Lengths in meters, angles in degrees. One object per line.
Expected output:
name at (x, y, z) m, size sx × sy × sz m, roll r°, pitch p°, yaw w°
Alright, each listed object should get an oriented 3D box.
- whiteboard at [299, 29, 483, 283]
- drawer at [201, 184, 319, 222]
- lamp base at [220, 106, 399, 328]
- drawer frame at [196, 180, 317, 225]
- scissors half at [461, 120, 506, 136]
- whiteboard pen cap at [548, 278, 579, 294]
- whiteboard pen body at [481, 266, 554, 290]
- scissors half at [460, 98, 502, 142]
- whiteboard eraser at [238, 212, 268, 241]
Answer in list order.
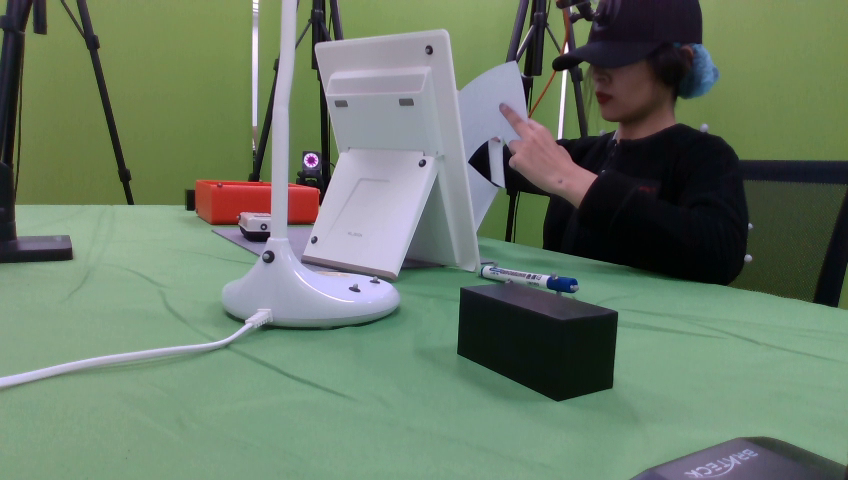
whiteboard at (-0.074, -0.082, 0.742) m, size 0.216 × 0.305 × 0.144 m, roll 9°, pitch 29°, yaw 38°
drawer at (-0.353, -0.082, 1.295) m, size 0.213 × 0.073 × 0.193 m, roll -2°, pitch 10°, yaw -28°
lamp base at (-0.102, -0.023, 0.531) m, size 0.160 × 0.180 × 0.179 m, roll 4°, pitch 10°, yaw 10°
drawer frame at (-0.359, -0.083, 1.292) m, size 0.215 × 0.082 × 0.200 m, roll -2°, pitch 10°, yaw -30°
scissors half at (0.093, -0.197, 1.092) m, size 0.013 × 0.040 × 0.174 m, roll 26°, pitch -4°, yaw -35°
whiteboard pen cap at (0.148, 0.049, 0.647) m, size 0.018 × 0.018 × 0.033 m, roll -3°, pitch 3°, yaw -36°
whiteboard pen body at (0.115, 0.044, 0.695) m, size 0.017 × 0.017 × 0.140 m, roll -3°, pitch 5°, yaw -35°
scissors half at (0.106, -0.215, 1.090) m, size 0.013 × 0.040 × 0.174 m, roll 32°, pitch 21°, yaw -35°
whiteboard eraser at (-0.272, -0.024, 0.998) m, size 0.056 × 0.042 × 0.112 m, roll -2°, pitch 9°, yaw -24°
